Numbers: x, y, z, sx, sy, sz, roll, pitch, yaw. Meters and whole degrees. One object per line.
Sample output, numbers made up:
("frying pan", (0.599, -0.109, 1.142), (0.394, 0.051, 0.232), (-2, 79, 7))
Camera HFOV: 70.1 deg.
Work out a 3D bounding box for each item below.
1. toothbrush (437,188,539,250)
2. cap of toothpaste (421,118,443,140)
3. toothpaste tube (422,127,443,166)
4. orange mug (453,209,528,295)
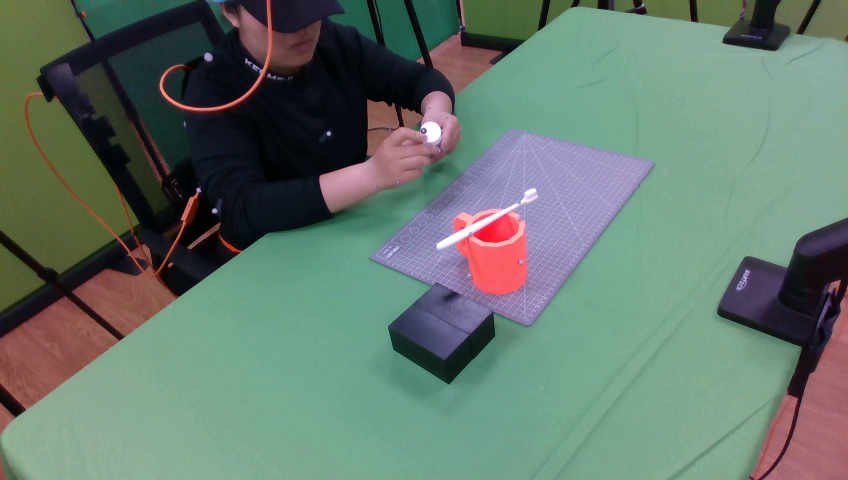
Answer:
("toothbrush", (0.093, -0.031, 0.859), (0.182, 0.017, 0.014), (-28, 51, -21))
("cap of toothpaste", (0.012, -0.182, 0.996), (0.037, 0.011, 0.037), (0, 85, 3))
("toothpaste tube", (0.015, -0.174, 1.074), (0.055, 0.165, 0.034), (-44, 85, -5))
("orange mug", (0.095, 0.009, 0.894), (0.125, 0.101, 0.084), (32, 55, 34))
